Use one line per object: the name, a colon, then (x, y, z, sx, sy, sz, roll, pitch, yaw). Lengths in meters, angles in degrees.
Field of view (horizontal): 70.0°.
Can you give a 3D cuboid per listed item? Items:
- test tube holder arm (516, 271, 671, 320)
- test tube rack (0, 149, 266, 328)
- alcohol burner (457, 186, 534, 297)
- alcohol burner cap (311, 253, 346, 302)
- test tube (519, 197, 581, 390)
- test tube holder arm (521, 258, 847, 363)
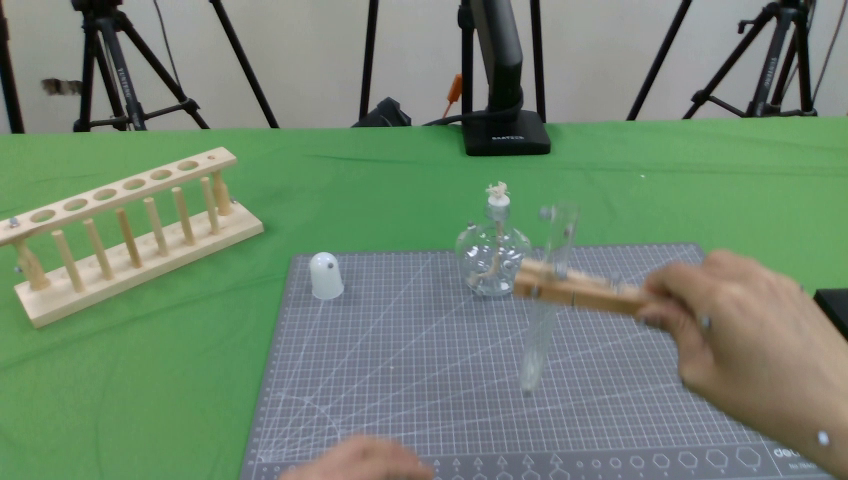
test tube holder arm: (0.098, 0.032, 0.357, 0.087, 0.015, 0.010, 9, 40, 15)
test tube rack: (-0.297, -0.010, 0.636, 0.242, 0.086, 0.066, -27, 44, -31)
alcohol burner: (0.071, -0.003, 0.593, 0.078, 0.120, 0.077, 1, 38, 0)
alcohol burner cap: (-0.097, 0.034, 0.605, 0.034, 0.048, 0.033, 0, 37, 0)
test tube: (0.077, 0.040, 0.378, 0.017, 0.151, 0.017, 2, 35, -1)
test tube holder arm: (0.142, 0.038, 0.347, 0.177, 0.015, 0.013, 13, 42, 20)
